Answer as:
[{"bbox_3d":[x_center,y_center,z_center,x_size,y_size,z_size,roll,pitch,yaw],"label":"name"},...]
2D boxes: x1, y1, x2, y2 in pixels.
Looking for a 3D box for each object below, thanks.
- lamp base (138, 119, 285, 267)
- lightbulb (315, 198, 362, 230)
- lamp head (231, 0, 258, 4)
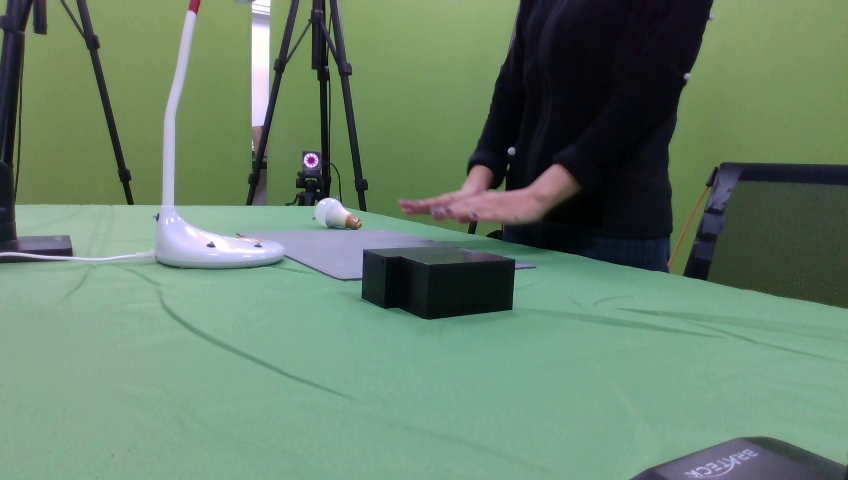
[{"bbox_3d":[-0.271,-0.061,0.772,0.180,0.180,0.160,-7,12,-39],"label":"lamp base"},{"bbox_3d":[-0.171,-0.048,1.220,0.107,0.059,0.060,22,15,22],"label":"lightbulb"},{"bbox_3d":[-0.257,-0.377,0.773,0.112,0.112,0.123,5,-2,26],"label":"lamp head"}]
